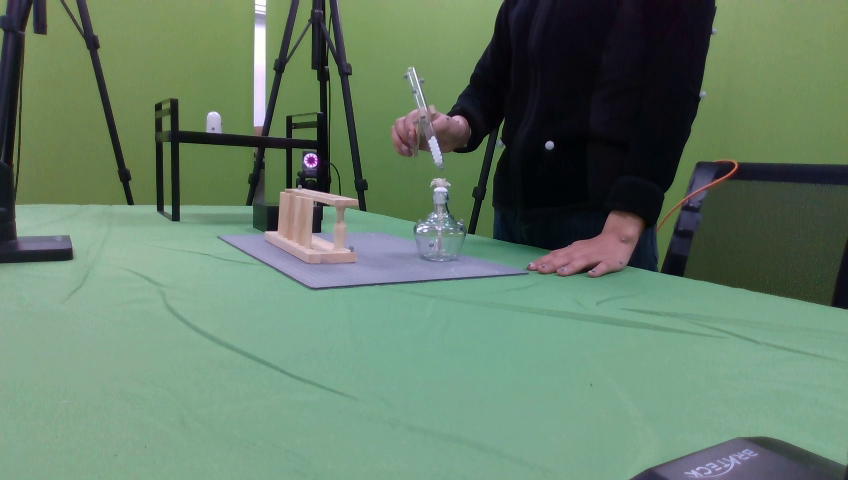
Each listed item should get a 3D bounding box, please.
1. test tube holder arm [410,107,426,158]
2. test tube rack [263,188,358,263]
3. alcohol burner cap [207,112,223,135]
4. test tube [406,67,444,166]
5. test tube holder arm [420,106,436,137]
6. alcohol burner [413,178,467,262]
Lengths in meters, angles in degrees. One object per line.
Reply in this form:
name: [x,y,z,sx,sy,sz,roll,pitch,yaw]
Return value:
test tube holder arm: [-0.011,-0.161,0.927,0.013,0.015,0.178,-11,-10,-9]
test tube rack: [-0.175,-0.028,0.890,0.067,0.085,0.241,0,8,-28]
alcohol burner cap: [-0.440,-0.245,1.271,0.034,0.048,0.034,2,7,0]
test tube: [0.002,-0.176,0.861,0.017,0.150,0.017,-16,-9,-2]
test tube holder arm: [0.002,-0.172,0.884,0.010,0.015,0.087,-10,-10,-16]
alcohol burner: [0.023,-0.029,0.864,0.078,0.119,0.078,1,6,0]
